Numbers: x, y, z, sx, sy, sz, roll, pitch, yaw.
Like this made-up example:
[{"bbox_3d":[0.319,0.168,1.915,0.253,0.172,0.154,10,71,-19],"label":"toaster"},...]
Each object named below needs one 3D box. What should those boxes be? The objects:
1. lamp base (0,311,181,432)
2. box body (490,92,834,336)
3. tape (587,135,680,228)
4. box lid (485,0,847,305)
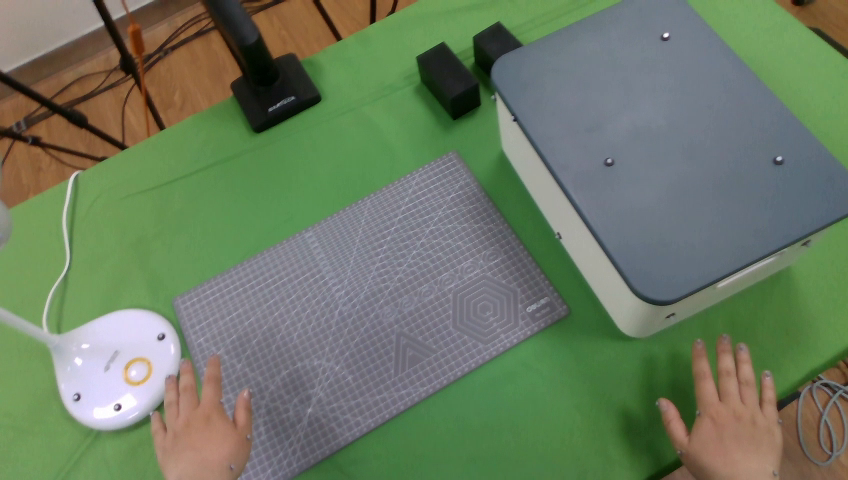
[{"bbox_3d":[-0.418,0.132,0.727,0.178,0.182,0.159,5,64,14],"label":"lamp base"},{"bbox_3d":[0.268,-0.092,0.747,0.254,0.162,0.360,-26,62,-5],"label":"box body"},{"bbox_3d":[0.273,-0.079,0.796,0.117,0.053,0.116,-3,62,6],"label":"tape"},{"bbox_3d":[0.257,-0.128,0.683,0.263,0.015,0.368,-26,63,-5],"label":"box lid"}]
